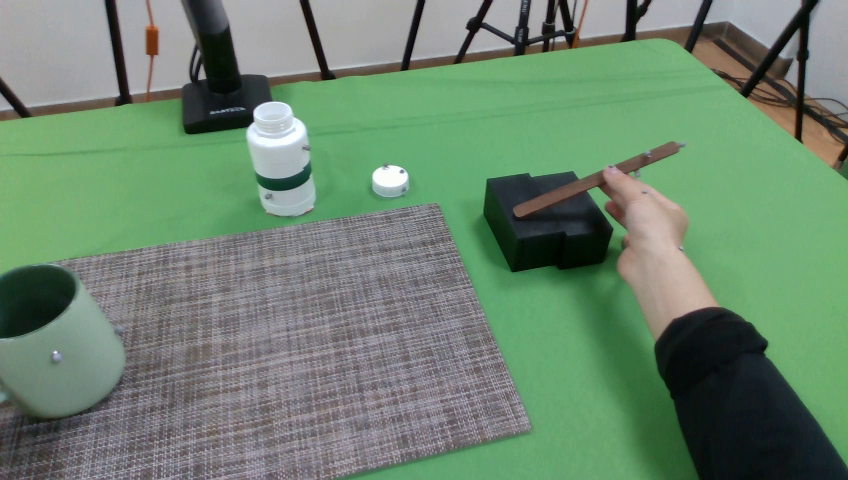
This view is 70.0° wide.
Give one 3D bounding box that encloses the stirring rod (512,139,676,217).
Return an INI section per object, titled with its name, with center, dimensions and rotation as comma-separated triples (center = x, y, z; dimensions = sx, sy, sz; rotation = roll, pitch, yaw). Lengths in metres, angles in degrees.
[stirring rod]
center = 0.173, -0.062, 0.618
dimensions = 0.176, 0.006, 0.014
rotation = -23, 72, 5

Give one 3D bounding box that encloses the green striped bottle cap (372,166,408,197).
[green striped bottle cap]
center = -0.041, -0.071, 0.729
dimensions = 0.044, 0.020, 0.044
rotation = 0, 40, 0

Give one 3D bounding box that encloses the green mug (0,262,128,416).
[green mug]
center = -0.314, 0.090, 0.483
dimensions = 0.091, 0.106, 0.125
rotation = 34, 53, 29

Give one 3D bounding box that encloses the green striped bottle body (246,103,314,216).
[green striped bottle body]
center = -0.159, -0.090, 0.670
dimensions = 0.063, 0.120, 0.062
rotation = 1, 44, -1
